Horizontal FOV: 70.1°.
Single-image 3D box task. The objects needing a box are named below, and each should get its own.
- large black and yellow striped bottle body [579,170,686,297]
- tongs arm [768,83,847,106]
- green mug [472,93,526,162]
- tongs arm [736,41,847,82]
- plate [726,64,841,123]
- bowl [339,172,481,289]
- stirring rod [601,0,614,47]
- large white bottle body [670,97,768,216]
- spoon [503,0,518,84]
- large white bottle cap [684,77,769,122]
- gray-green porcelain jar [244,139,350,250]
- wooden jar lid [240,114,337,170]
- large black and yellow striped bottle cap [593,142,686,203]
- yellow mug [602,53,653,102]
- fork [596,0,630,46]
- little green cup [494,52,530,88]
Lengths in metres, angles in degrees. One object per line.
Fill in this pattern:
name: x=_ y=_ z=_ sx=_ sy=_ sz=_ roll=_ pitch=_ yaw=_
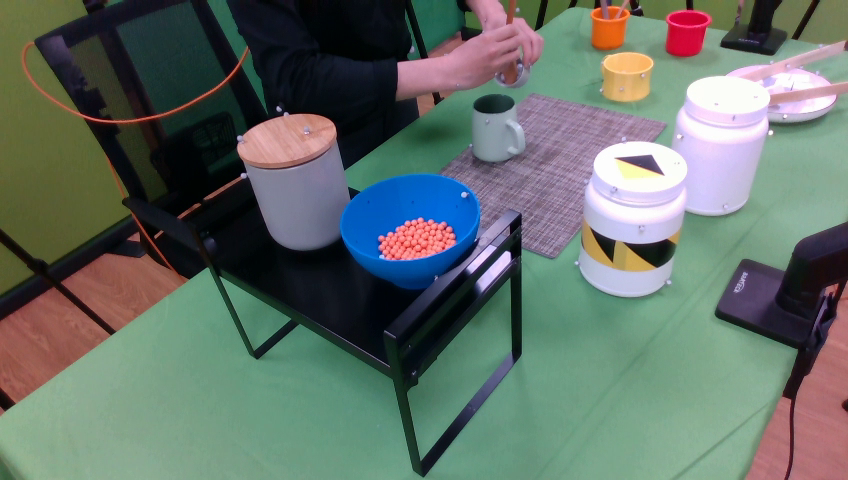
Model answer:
large black and yellow striped bottle body: x=0.287 y=-0.027 z=0.841 sx=0.131 sy=0.185 sz=0.130 roll=-4 pitch=40 yaw=4
tongs arm: x=0.738 y=-0.281 z=1.134 sx=0.388 sy=0.028 sz=0.028 roll=-9 pitch=47 yaw=-5
green mug: x=0.144 y=-0.202 z=1.122 sx=0.093 sy=0.105 sz=0.124 roll=-29 pitch=45 yaw=-23
tongs arm: x=0.712 y=-0.332 z=1.194 sx=0.386 sy=0.026 sz=0.050 roll=-19 pitch=45 yaw=-16
plate: x=0.695 y=-0.282 z=1.189 sx=0.207 sy=0.039 sz=0.206 roll=-4 pitch=40 yaw=4
bowl: x=-0.011 y=0.001 z=0.660 sx=0.151 sy=0.077 sz=0.150 roll=-5 pitch=41 yaw=5
stirring rod: x=0.439 y=-0.552 z=1.463 sx=0.014 sy=0.006 sz=0.175 roll=-7 pitch=83 yaw=3
large white bottle body: x=0.458 y=-0.146 z=0.952 sx=0.130 sy=0.185 sz=0.130 roll=-4 pitch=40 yaw=4
spoon: x=0.146 y=-0.335 z=1.026 sx=0.021 sy=0.194 sz=0.041 roll=-28 pitch=64 yaw=-5
large white bottle cap: x=0.448 y=-0.209 z=0.898 sx=0.115 sy=0.018 sz=0.114 roll=-4 pitch=40 yaw=4
gray-green porcelain jar: x=-0.143 y=-0.060 z=0.714 sx=0.106 sy=0.127 sz=0.105 roll=-4 pitch=41 yaw=4
wooden jar lid: x=-0.149 y=-0.106 z=0.673 sx=0.108 sy=0.021 sz=0.108 roll=-6 pitch=39 yaw=5
large black and yellow striped bottle cap: x=0.280 y=-0.090 z=0.786 sx=0.115 sy=0.019 sz=0.114 roll=-5 pitch=41 yaw=5
yellow mug: x=0.423 y=-0.354 z=1.292 sx=0.100 sy=0.064 sz=0.129 roll=-23 pitch=42 yaw=-16
fork: x=0.481 y=-0.556 z=1.452 sx=0.028 sy=0.019 sz=0.207 roll=40 pitch=103 yaw=39
little green cup: x=0.162 y=-0.306 z=1.102 sx=0.061 sy=0.061 sz=0.039 roll=21 pitch=11 yaw=29
